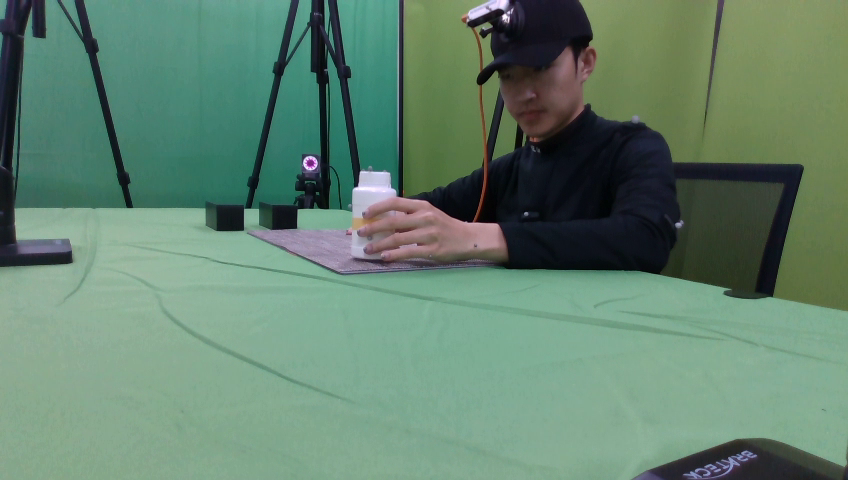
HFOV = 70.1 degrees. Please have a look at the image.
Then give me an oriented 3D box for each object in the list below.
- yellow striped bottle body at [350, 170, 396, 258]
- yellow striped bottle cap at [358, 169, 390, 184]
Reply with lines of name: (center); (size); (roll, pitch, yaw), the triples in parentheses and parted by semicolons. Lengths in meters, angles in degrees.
yellow striped bottle body: (-0.071, -0.037, 0.850); (0.063, 0.120, 0.063); (2, 4, 0)
yellow striped bottle cap: (-0.070, -0.088, 0.845); (0.044, 0.018, 0.044); (4, 9, 0)
